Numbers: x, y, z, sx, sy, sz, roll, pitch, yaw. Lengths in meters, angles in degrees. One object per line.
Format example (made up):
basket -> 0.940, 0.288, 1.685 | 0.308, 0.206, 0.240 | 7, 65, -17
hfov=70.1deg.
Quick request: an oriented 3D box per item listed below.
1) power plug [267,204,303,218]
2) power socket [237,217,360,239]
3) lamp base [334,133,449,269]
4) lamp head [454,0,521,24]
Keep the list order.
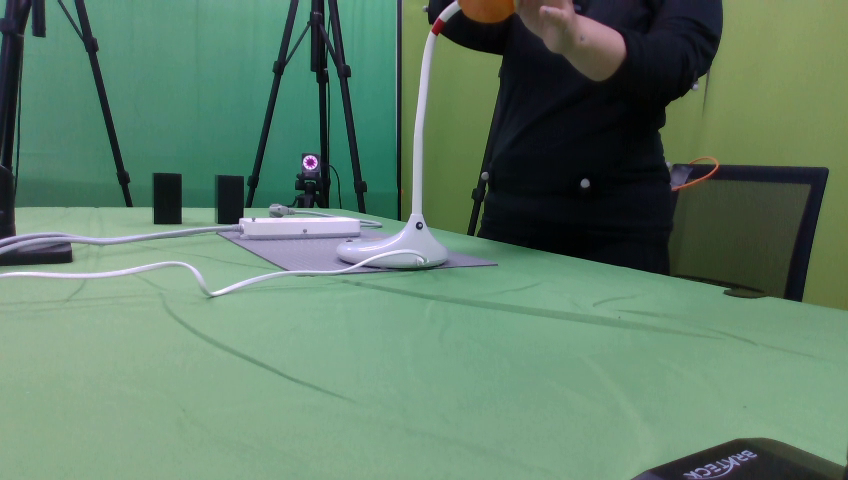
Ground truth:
power plug -> -0.327, -0.059, 1.404 | 0.073, 0.035, 0.052 | 22, -14, -26
power socket -> -0.221, -0.023, 1.080 | 0.228, 0.032, 0.072 | -2, 8, -32
lamp base -> -0.034, -0.057, 0.831 | 0.161, 0.180, 0.178 | -2, 11, -36
lamp head -> 0.074, -0.317, 0.704 | 0.112, 0.122, 0.112 | 8, -2, 1
